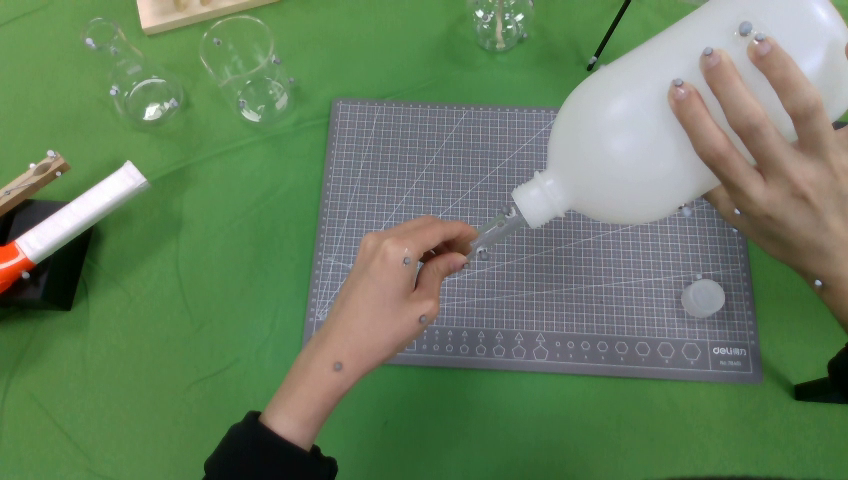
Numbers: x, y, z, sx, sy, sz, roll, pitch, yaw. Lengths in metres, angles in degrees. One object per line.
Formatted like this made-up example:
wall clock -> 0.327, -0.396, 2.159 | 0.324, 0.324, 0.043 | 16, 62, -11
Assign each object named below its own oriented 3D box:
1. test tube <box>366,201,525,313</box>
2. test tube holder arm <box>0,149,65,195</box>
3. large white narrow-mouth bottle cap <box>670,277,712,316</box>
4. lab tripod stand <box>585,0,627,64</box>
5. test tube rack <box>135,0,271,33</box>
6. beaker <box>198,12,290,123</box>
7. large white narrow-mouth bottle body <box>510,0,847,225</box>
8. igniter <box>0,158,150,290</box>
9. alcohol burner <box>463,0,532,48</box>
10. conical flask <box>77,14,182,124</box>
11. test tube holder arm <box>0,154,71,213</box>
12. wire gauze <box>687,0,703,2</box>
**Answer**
test tube -> 0.011, 0.016, 0.434 | 0.150, 0.017, 0.017 | -35, 68, 30
test tube holder arm -> -0.430, -0.029, 0.590 | 0.178, 0.015, 0.013 | -41, 75, -13
large white narrow-mouth bottle cap -> 0.266, 0.056, 0.604 | 0.038, 0.024, 0.037 | 0, 72, 1
lab tripod stand -> 0.252, -0.262, 0.658 | 0.148, 0.132, 0.147 | 0, 70, -1
test tube rack -> -0.230, -0.326, 0.708 | 0.242, 0.086, 0.066 | -17, 71, -6
beaker -> -0.188, -0.177, 0.649 | 0.074, 0.101, 0.083 | 17, 72, 7
large white narrow-mouth bottle body -> 0.142, -0.070, 0.370 | 0.194, 0.102, 0.101 | -32, 71, 12
igniter -> -0.387, 0.015, 0.571 | 0.276, 0.025, 0.057 | -40, 77, -16
alcohol burner -> 0.083, -0.272, 0.673 | 0.078, 0.120, 0.077 | 0, 69, -1
conical flask -> -0.314, -0.183, 0.639 | 0.075, 0.122, 0.075 | 0, 70, 1
test tube holder arm -> -0.393, -0.054, 0.599 | 0.088, 0.015, 0.010 | -39, 75, -13
wire gauze -> 0.259, -0.286, 0.594 | 0.121, 0.011, 0.124 | 24, 73, 7
